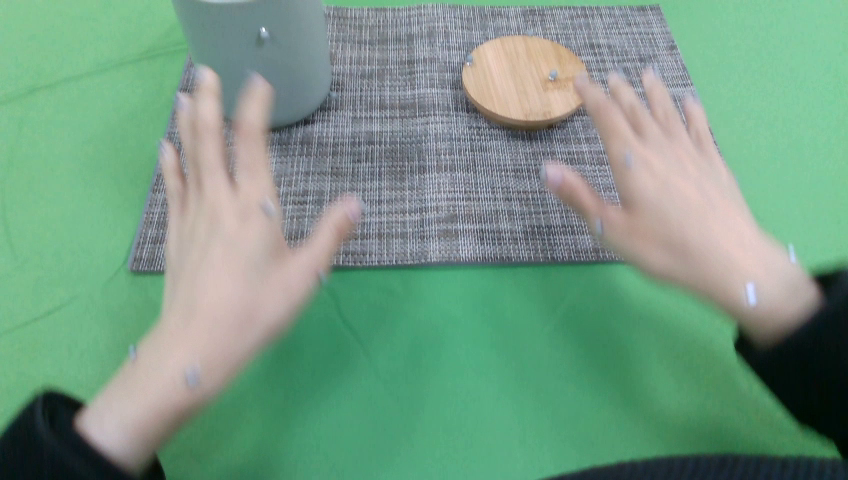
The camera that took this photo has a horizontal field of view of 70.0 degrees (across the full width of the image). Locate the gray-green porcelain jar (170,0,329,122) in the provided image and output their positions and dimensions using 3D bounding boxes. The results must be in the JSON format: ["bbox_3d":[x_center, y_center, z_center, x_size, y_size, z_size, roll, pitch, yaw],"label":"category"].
[{"bbox_3d":[-0.130,-0.164,0.466,0.106,0.127,0.105,1,56,-1],"label":"gray-green porcelain jar"}]

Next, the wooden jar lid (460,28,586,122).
[{"bbox_3d":[0.084,-0.141,0.522,0.108,0.021,0.107,0,55,0],"label":"wooden jar lid"}]
